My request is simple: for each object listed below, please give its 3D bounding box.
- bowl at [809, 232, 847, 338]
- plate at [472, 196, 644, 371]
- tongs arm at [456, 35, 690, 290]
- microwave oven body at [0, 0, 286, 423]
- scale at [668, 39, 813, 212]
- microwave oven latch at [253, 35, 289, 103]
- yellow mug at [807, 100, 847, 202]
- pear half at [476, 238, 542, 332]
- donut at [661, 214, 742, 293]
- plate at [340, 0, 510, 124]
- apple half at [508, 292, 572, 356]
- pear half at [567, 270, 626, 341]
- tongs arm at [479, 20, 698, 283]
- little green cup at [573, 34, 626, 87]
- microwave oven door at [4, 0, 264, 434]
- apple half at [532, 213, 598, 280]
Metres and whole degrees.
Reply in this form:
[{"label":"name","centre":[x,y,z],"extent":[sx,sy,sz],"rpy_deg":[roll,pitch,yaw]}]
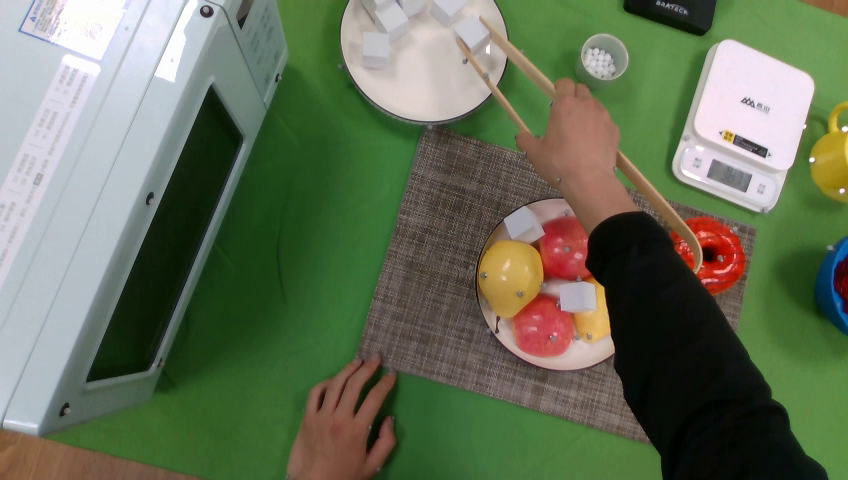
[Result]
[{"label":"bowl","centre":[0.545,0.059,0.758],"extent":[0.151,0.077,0.151],"rpy_deg":[1,83,-6]},{"label":"plate","centre":[0.159,0.051,0.729],"extent":[0.209,0.038,0.208],"rpy_deg":[1,83,-7]},{"label":"tongs arm","centre":[0.147,-0.100,0.657],"extent":[0.051,0.027,0.381],"rpy_deg":[-29,66,-1]},{"label":"microwave oven body","centre":[-0.370,-0.101,0.573],"extent":[0.326,0.260,0.440],"rpy_deg":[20,82,-4]},{"label":"scale","centre":[0.415,-0.150,0.792],"extent":[0.149,0.031,0.200],"rpy_deg":[22,81,-3]},{"label":"microwave oven latch","centre":[-0.183,-0.203,0.705],"extent":[0.030,0.029,0.079],"rpy_deg":[22,82,-4]},{"label":"yellow mug","centre":[0.562,-0.120,0.788],"extent":[0.100,0.064,0.130],"rpy_deg":[-15,84,-8]},{"label":"pear half","centre":[0.098,0.054,0.700],"extent":[0.076,0.056,0.109],"rpy_deg":[11,86,-14]},{"label":"donut","centre":[0.342,0.017,0.752],"extent":[0.099,0.048,0.098],"rpy_deg":[1,82,-4]},{"label":"plate","centre":[0.001,-0.241,0.751],"extent":[0.208,0.039,0.207],"rpy_deg":[1,83,-7]},{"label":"apple half","centre":[0.139,0.099,0.712],"extent":[0.081,0.033,0.081],"rpy_deg":[2,76,-7]},{"label":"pear half","centre":[0.207,0.078,0.725],"extent":[0.070,0.031,0.087],"rpy_deg":[18,79,9]},{"label":"tongs arm","centre":[0.167,-0.113,0.658],"extent":[0.028,0.028,0.384],"rpy_deg":[-32,66,-6]},{"label":"little green cup","centre":[0.222,-0.227,0.775],"extent":[0.061,0.038,0.061],"rpy_deg":[1,82,-6]},{"label":"microwave oven door","centre":[-0.247,-0.013,0.571],"extent":[0.039,0.244,0.355],"rpy_deg":[19,81,-4]},{"label":"apple half","centre":[0.170,0.006,0.719],"extent":[0.075,0.053,0.080],"rpy_deg":[5,85,-3]}]
